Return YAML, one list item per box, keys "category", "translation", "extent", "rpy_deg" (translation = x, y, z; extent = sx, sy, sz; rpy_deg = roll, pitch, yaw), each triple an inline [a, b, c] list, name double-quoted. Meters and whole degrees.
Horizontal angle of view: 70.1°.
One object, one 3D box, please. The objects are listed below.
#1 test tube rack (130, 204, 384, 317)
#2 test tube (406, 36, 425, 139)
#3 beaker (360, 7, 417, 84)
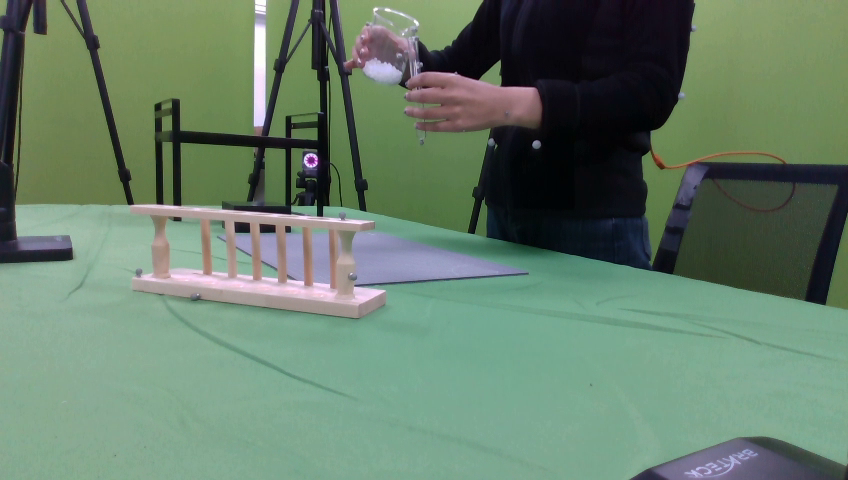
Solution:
- category: "test tube rack"
  translation: [-0.163, 0.013, 0.589]
  extent: [0.242, 0.085, 0.067]
  rpy_deg: [5, 8, 17]
- category: "test tube"
  translation: [-0.013, -0.225, 0.892]
  extent: [0.017, 0.150, 0.017]
  rpy_deg: [-5, 1, 0]
- category: "beaker"
  translation: [-0.059, -0.306, 0.967]
  extent: [0.074, 0.100, 0.083]
  rpy_deg: [1, 38, -26]
